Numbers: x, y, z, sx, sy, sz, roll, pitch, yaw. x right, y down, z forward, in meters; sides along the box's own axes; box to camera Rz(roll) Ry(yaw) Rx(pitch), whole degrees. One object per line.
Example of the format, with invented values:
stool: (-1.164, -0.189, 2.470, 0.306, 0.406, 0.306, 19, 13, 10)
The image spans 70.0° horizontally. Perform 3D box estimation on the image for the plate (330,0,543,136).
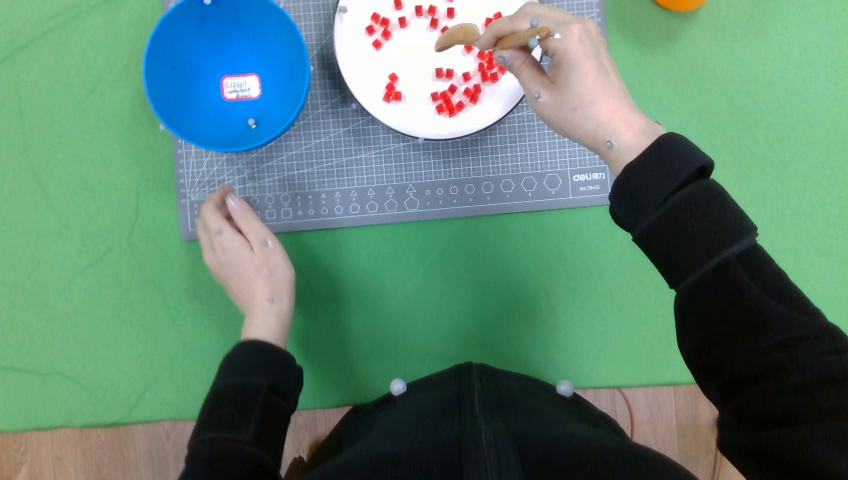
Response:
plate: (0.013, -0.206, 0.604, 0.209, 0.038, 0.209, 0, 89, 0)

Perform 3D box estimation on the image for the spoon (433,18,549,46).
spoon: (0.050, -0.160, 0.470, 0.041, 0.192, 0.022, -28, 116, -9)

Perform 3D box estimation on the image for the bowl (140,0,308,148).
bowl: (-0.180, -0.157, 0.581, 0.151, 0.077, 0.151, 0, 90, -1)
